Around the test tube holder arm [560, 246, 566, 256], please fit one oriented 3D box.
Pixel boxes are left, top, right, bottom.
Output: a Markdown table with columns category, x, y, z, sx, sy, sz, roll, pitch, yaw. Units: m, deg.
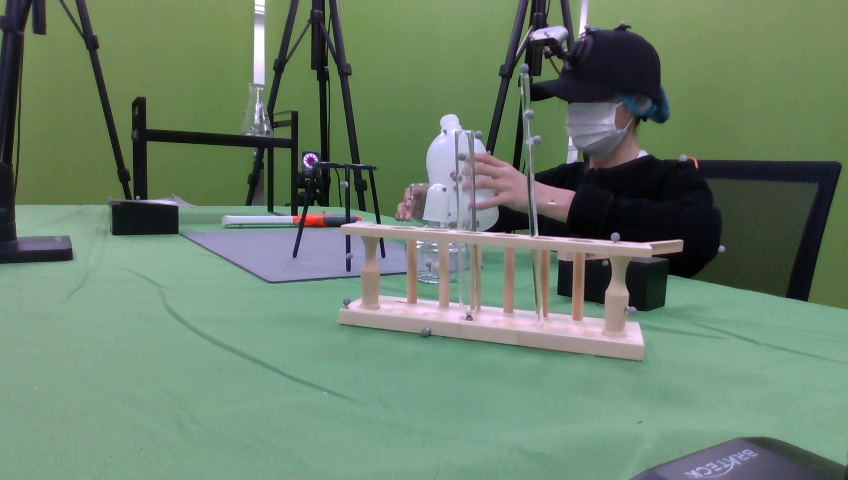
| category | x | y | z | sx | sy | sz | roll | pitch | yaw |
| --- | --- | --- | --- | --- | --- | --- | --- | --- | --- |
| test tube holder arm | 0.173 | 0.007 | 0.611 | 0.088 | 0.015 | 0.010 | -3 | 9 | -30 |

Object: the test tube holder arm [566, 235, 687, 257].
| category | x | y | z | sx | sy | sz | roll | pitch | yaw |
| --- | --- | --- | --- | --- | --- | --- | --- | --- | --- |
| test tube holder arm | 0.215 | 0.006 | 0.629 | 0.179 | 0.015 | 0.013 | -3 | 9 | -30 |

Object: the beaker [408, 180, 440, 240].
| category | x | y | z | sx | sy | sz | roll | pitch | yaw |
| --- | --- | --- | --- | --- | --- | --- | --- | --- | --- |
| beaker | 0.014 | -0.053 | 1.069 | 0.083 | 0.100 | 0.074 | 10 | 14 | 43 |

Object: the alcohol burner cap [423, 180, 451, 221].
| category | x | y | z | sx | sy | sz | roll | pitch | yaw |
| --- | --- | --- | --- | --- | --- | --- | --- | --- | --- |
| alcohol burner cap | 0.017 | -0.047 | 0.711 | 0.034 | 0.048 | 0.034 | 8 | 5 | 0 |

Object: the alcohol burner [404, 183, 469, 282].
| category | x | y | z | sx | sy | sz | roll | pitch | yaw |
| --- | --- | --- | --- | --- | --- | --- | --- | --- | --- |
| alcohol burner | 0.015 | -0.011 | 0.715 | 0.078 | 0.119 | 0.078 | 0 | 7 | 0 |

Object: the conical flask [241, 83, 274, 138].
| category | x | y | z | sx | sy | sz | roll | pitch | yaw |
| --- | --- | --- | --- | --- | --- | --- | --- | --- | --- |
| conical flask | -0.384 | -0.297 | 1.393 | 0.075 | 0.122 | 0.075 | 2 | 7 | 0 |

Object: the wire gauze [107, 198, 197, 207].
| category | x | y | z | sx | sy | sz | roll | pitch | yaw |
| --- | --- | --- | --- | --- | --- | --- | --- | --- | --- |
| wire gauze | -0.462 | -0.064 | 1.023 | 0.126 | 0.011 | 0.121 | -2 | 7 | -32 |

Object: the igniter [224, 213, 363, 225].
| category | x | y | z | sx | sy | sz | roll | pitch | yaw |
| --- | --- | --- | --- | --- | --- | --- | --- | --- | --- |
| igniter | -0.255 | -0.041 | 1.210 | 0.278 | 0.025 | 0.057 | -2 | -2 | -31 |

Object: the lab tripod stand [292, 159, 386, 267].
| category | x | y | z | sx | sy | sz | roll | pitch | yaw |
| --- | --- | --- | --- | --- | --- | --- | --- | --- | --- |
| lab tripod stand | -0.105 | -0.039 | 0.798 | 0.148 | 0.131 | 0.148 | 2 | 5 | 0 |

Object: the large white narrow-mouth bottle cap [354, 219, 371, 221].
| category | x | y | z | sx | sy | sz | roll | pitch | yaw |
| --- | --- | --- | --- | --- | --- | --- | --- | --- | --- |
| large white narrow-mouth bottle cap | -0.120 | -0.029 | 1.184 | 0.038 | 0.024 | 0.037 | 2 | 8 | 0 |

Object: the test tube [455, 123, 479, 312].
| category | x | y | z | sx | sy | sz | roll | pitch | yaw |
| --- | --- | --- | --- | --- | --- | --- | --- | --- | --- |
| test tube | 0.034 | -0.016 | 0.476 | 0.017 | 0.150 | 0.017 | -2 | 10 | 1 |

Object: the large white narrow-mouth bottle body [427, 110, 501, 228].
| category | x | y | z | sx | sy | sz | roll | pitch | yaw |
| --- | --- | --- | --- | --- | --- | --- | --- | --- | --- |
| large white narrow-mouth bottle body | 0.057 | -0.115 | 0.957 | 0.102 | 0.194 | 0.102 | -8 | -18 | -2 |

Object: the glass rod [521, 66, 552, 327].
| category | x | y | z | sx | sy | sz | roll | pitch | yaw |
| --- | --- | --- | --- | --- | --- | --- | --- | --- | --- |
| glass rod | 0.085 | -0.028 | 0.454 | 0.008 | 0.199 | 0.008 | -7 | 10 | 2 |

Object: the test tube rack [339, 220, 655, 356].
| category | x | y | z | sx | sy | sz | roll | pitch | yaw |
| --- | --- | --- | --- | --- | --- | --- | --- | --- | --- |
| test tube rack | 0.056 | 0.032 | 0.495 | 0.242 | 0.085 | 0.067 | 4 | 7 | 15 |
